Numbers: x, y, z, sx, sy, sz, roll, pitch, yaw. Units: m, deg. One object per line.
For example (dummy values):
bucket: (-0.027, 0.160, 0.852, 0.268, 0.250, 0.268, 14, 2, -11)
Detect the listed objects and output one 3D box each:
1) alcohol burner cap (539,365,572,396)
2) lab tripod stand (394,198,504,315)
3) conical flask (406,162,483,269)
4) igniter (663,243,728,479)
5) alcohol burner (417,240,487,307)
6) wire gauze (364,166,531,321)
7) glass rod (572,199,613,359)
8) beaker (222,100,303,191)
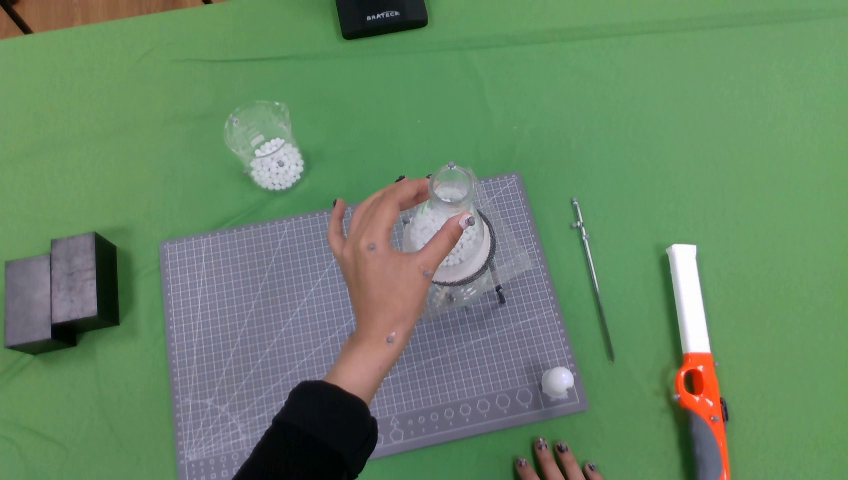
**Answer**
alcohol burner cap: (0.146, 0.151, 0.660, 0.034, 0.048, 0.033, 0, 71, 0)
lab tripod stand: (0.024, 0.025, 0.656, 0.148, 0.132, 0.147, 0, 73, 0)
conical flask: (0.020, -0.025, 0.539, 0.075, 0.122, 0.075, 0, 71, -1)
igniter: (0.301, 0.135, 0.677, 0.057, 0.025, 0.274, 3, 71, -10)
alcohol burner: (0.032, 0.031, 0.664, 0.078, 0.120, 0.077, 1, 71, -1)
wire gauze: (0.022, 0.002, 0.594, 0.125, 0.011, 0.120, -27, 75, -10)
glass rod: (0.198, 0.043, 0.718, 0.008, 0.008, 0.198, -7, 71, -3)
beaker: (-0.186, -0.110, 0.723, 0.073, 0.101, 0.084, 35, 74, 11)
